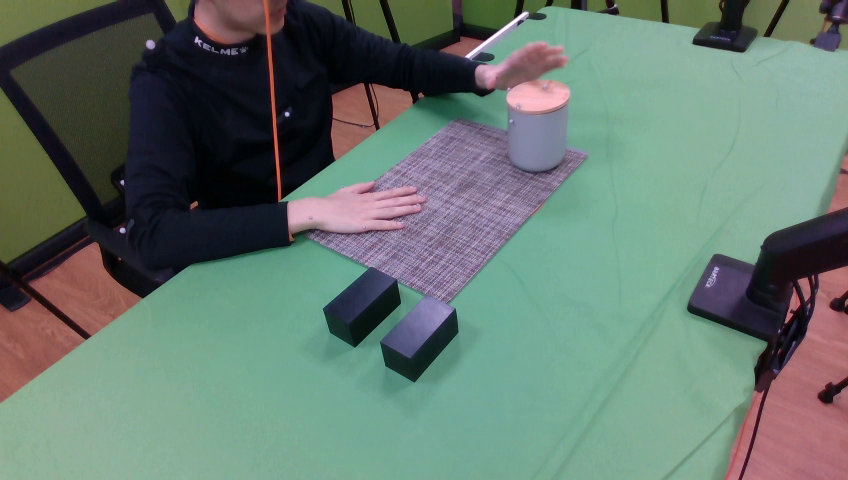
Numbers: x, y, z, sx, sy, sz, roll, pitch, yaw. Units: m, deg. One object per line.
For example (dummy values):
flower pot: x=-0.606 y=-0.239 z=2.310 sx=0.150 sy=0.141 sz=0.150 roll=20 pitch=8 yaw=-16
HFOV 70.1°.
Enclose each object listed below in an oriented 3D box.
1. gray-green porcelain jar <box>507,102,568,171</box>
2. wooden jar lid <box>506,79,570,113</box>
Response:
gray-green porcelain jar: x=0.202 y=-0.196 z=1.081 sx=0.106 sy=0.127 sz=0.105 roll=-4 pitch=41 yaw=4
wooden jar lid: x=0.197 y=-0.243 z=1.041 sx=0.108 sy=0.021 sz=0.108 roll=-7 pitch=41 yaw=7
